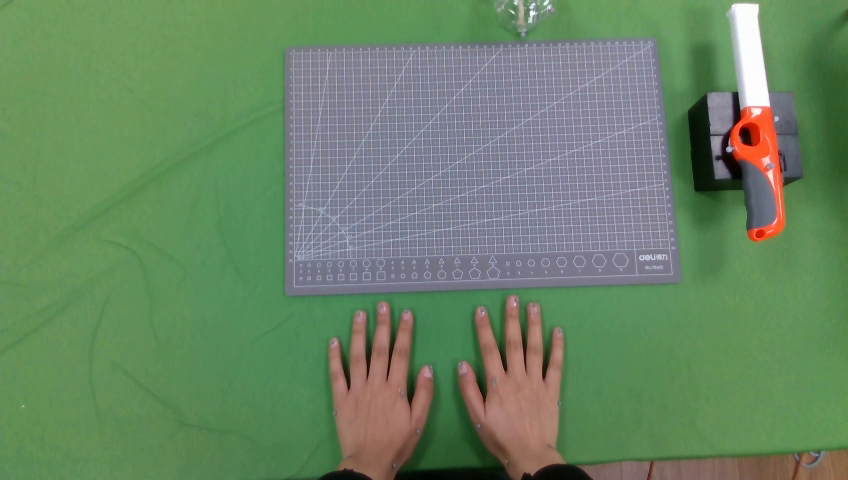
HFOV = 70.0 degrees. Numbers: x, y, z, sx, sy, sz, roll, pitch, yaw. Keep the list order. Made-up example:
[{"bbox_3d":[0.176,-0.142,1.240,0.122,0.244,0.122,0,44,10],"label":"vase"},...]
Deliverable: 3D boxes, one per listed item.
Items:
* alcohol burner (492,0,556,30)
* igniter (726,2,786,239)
[{"bbox_3d":[0.117,-0.292,0.690,0.078,0.119,0.077,0,81,-3],"label":"alcohol burner"},{"bbox_3d":[0.361,-0.135,0.665,0.057,0.025,0.275,1,77,0],"label":"igniter"}]
